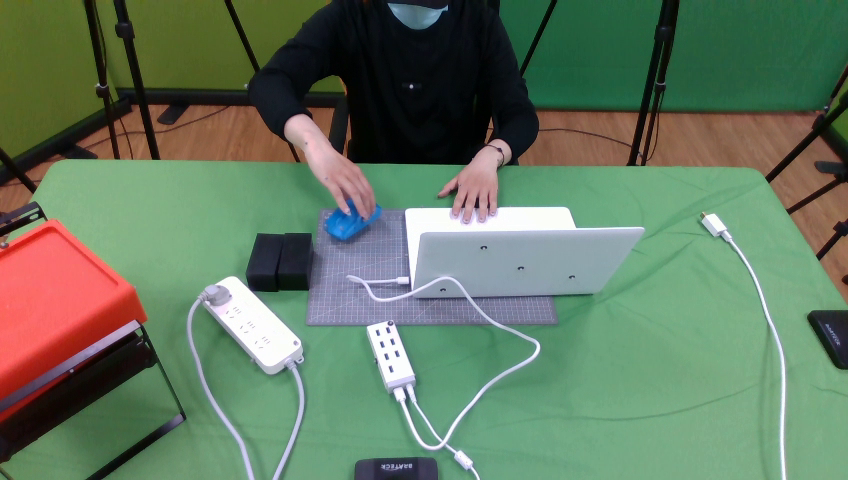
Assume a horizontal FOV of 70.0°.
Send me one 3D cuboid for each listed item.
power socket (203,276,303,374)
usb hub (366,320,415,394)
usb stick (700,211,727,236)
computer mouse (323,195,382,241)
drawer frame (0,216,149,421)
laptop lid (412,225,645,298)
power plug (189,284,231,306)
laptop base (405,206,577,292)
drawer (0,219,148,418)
[{"bbox_3d":[-0.296,0.141,1.034,0.072,0.033,0.225,-35,58,-30],"label":"power socket"},{"bbox_3d":[-0.056,0.192,1.009,0.049,0.025,0.124,-12,49,-16],"label":"usb hub"},{"bbox_3d":[0.606,-0.038,1.273,0.027,0.021,0.059,-18,56,-20],"label":"usb stick"},{"bbox_3d":[-0.142,-0.047,1.195,0.062,0.041,0.117,33,57,30],"label":"computer mouse"},{"bbox_3d":[-0.510,0.093,0.780,0.201,0.083,0.213,31,52,23],"label":"drawer frame"},{"bbox_3d":[0.161,0.042,1.012,0.357,0.242,0.013,0,59,-7],"label":"laptop lid"},{"bbox_3d":[-0.367,0.100,1.037,0.072,0.053,0.035,-24,54,-27],"label":"power plug"},{"bbox_3d":[0.143,0.018,1.196,0.355,0.023,0.234,-1,43,-6],"label":"laptop base"},{"bbox_3d":[-0.509,0.093,0.783,0.193,0.073,0.211,32,53,24],"label":"drawer"}]
